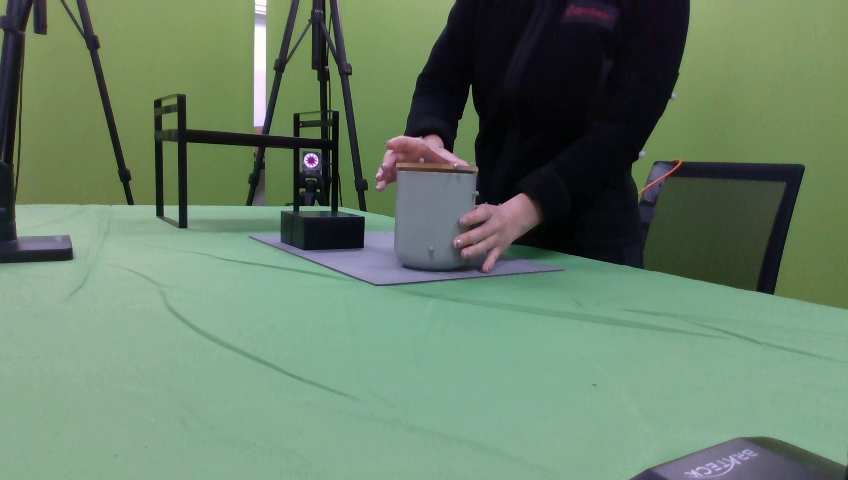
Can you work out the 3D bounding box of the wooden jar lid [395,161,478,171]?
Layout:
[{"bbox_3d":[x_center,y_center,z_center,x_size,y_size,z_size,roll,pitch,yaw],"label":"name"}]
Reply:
[{"bbox_3d":[0.016,-0.090,0.784,0.108,0.020,0.108,4,5,0],"label":"wooden jar lid"}]

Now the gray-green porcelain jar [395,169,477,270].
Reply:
[{"bbox_3d":[0.015,-0.028,0.793,0.106,0.126,0.106,1,7,0],"label":"gray-green porcelain jar"}]
